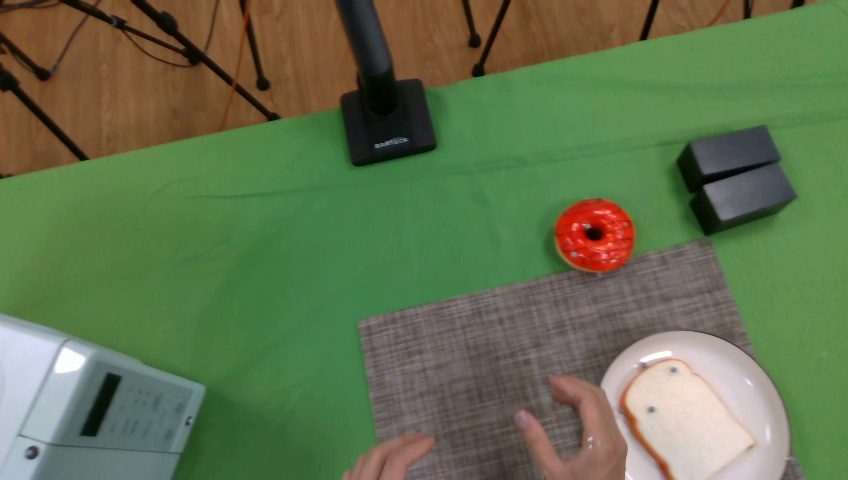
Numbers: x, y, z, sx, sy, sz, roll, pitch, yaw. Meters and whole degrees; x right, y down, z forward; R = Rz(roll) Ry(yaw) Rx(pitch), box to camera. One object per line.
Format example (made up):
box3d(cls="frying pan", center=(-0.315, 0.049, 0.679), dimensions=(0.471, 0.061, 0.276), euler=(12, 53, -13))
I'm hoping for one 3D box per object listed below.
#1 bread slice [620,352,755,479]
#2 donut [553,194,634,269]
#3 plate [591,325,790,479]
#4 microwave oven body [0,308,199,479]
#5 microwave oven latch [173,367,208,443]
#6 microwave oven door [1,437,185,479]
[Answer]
box3d(cls="bread slice", center=(0.284, 0.193, 0.672), dimensions=(0.105, 0.019, 0.130), euler=(-33, 72, -9))
box3d(cls="donut", center=(0.209, -0.011, 0.748), dimensions=(0.099, 0.048, 0.098), euler=(-3, 68, 7))
box3d(cls="plate", center=(0.287, 0.199, 0.669), dimensions=(0.207, 0.039, 0.206), euler=(-1, 70, 3))
box3d(cls="microwave oven body", center=(-0.473, 0.283, 0.570), dimensions=(0.325, 0.262, 0.439), euler=(14, 72, 8))
box3d(cls="microwave oven latch", center=(-0.276, 0.189, 0.694), dimensions=(0.030, 0.030, 0.079), euler=(16, 73, 9))
box3d(cls="microwave oven door", center=(-0.344, 0.353, 0.531), dimensions=(0.039, 0.245, 0.354), euler=(13, 72, 9))
